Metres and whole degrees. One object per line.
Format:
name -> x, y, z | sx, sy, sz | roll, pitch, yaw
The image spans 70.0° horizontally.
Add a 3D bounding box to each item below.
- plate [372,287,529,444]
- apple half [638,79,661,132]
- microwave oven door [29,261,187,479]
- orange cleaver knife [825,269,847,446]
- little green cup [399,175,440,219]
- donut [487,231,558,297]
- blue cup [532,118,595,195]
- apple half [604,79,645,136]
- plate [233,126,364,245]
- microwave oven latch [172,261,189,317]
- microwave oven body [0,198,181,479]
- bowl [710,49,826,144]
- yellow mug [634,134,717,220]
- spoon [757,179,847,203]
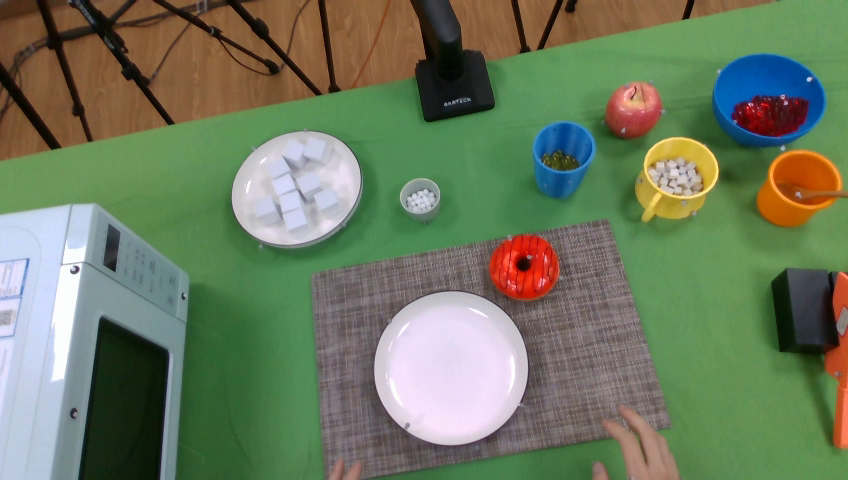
plate -> 0.036, 0.166, 0.812 | 0.209, 0.038, 0.207 | -3, 66, 6
apple half -> 0.340, -0.203, 0.917 | 0.033, 0.082, 0.080 | -6, 65, 9
microwave oven door -> -0.358, 0.230, 0.706 | 0.039, 0.246, 0.353 | -8, 66, 4
orange cleaver knife -> 0.510, 0.142, 0.740 | 0.012, 0.077, 0.211 | 3, 96, 11
little green cup -> -0.005, -0.063, 0.921 | 0.061, 0.039, 0.061 | -3, 66, 7
donut -> 0.139, 0.034, 0.853 | 0.099, 0.048, 0.098 | -3, 69, 7
blue cup -> 0.198, -0.114, 0.882 | 0.092, 0.101, 0.092 | -2, 67, 6
apple half -> 0.301, -0.198, 0.921 | 0.053, 0.075, 0.080 | -6, 69, 8
plate -> -0.195, -0.083, 0.954 | 0.207, 0.039, 0.206 | -3, 66, 6
microwave oven latch -> -0.363, 0.073, 0.887 | 0.030, 0.030, 0.078 | -6, 67, 4
microwave oven body -> -0.506, 0.213, 0.738 | 0.326, 0.262, 0.438 | -8, 66, 4
bowl -> 0.492, -0.196, 0.892 | 0.151, 0.077, 0.150 | -3, 67, 7
yellow mug -> 0.349, -0.081, 0.868 | 0.099, 0.064, 0.130 | 36, 77, 20
spoon -> 0.531, -0.062, 0.790 | 0.022, 0.192, 0.041 | 46, 75, -23
